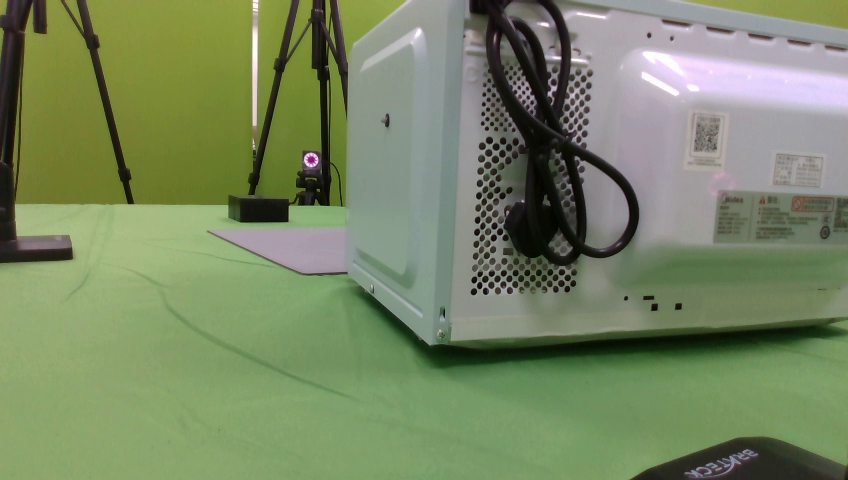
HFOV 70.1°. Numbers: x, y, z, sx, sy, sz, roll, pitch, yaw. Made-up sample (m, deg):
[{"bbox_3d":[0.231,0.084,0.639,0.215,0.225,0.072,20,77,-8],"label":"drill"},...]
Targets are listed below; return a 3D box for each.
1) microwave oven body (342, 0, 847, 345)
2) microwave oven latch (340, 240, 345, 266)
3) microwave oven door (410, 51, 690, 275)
[{"bbox_3d":[0.169,-0.059,0.573,0.444,0.260,0.324,1,7,-20],"label":"microwave oven body"},{"bbox_3d":[-0.052,0.016,0.662,0.079,0.029,0.030,1,7,-19],"label":"microwave oven latch"},{"bbox_3d":[0.161,-0.084,0.723,0.357,0.243,0.039,0,8,-20],"label":"microwave oven door"}]
